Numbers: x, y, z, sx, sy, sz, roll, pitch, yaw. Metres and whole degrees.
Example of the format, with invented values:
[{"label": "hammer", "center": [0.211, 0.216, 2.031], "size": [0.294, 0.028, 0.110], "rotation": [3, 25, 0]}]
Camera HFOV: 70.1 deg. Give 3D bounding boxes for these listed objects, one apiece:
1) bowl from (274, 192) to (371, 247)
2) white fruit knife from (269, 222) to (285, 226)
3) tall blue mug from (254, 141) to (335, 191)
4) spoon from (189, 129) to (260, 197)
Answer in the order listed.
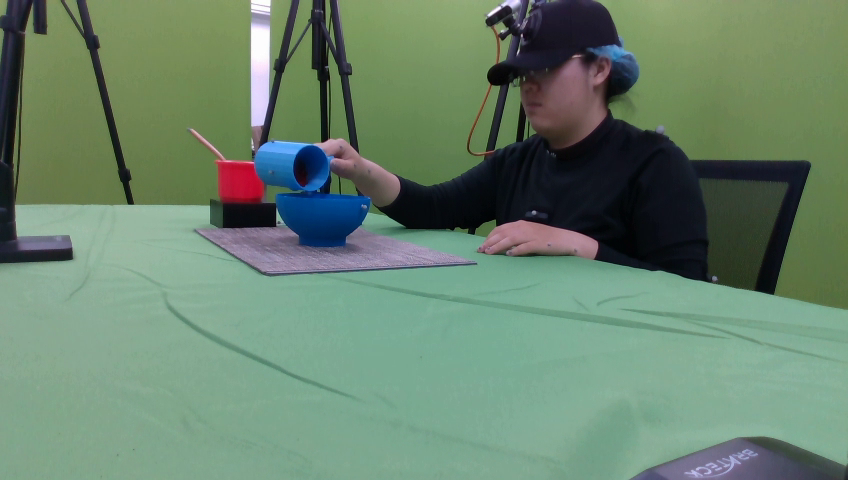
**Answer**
[{"label": "bowl", "center": [-0.161, -0.032, 0.959], "size": [0.151, 0.077, 0.151], "rotation": [3, 7, 0]}, {"label": "white fruit knife", "center": [-0.222, -0.037, 1.261], "size": [0.208, 0.016, 0.027], "rotation": [-4, -17, -32]}, {"label": "tall blue mug", "center": [-0.213, -0.135, 1.019], "size": [0.107, 0.078, 0.107], "rotation": [12, 52, 41]}, {"label": "spoon", "center": [-0.388, -0.150, 1.174], "size": [0.193, 0.021, 0.042], "rotation": [49, 19, 7]}]
